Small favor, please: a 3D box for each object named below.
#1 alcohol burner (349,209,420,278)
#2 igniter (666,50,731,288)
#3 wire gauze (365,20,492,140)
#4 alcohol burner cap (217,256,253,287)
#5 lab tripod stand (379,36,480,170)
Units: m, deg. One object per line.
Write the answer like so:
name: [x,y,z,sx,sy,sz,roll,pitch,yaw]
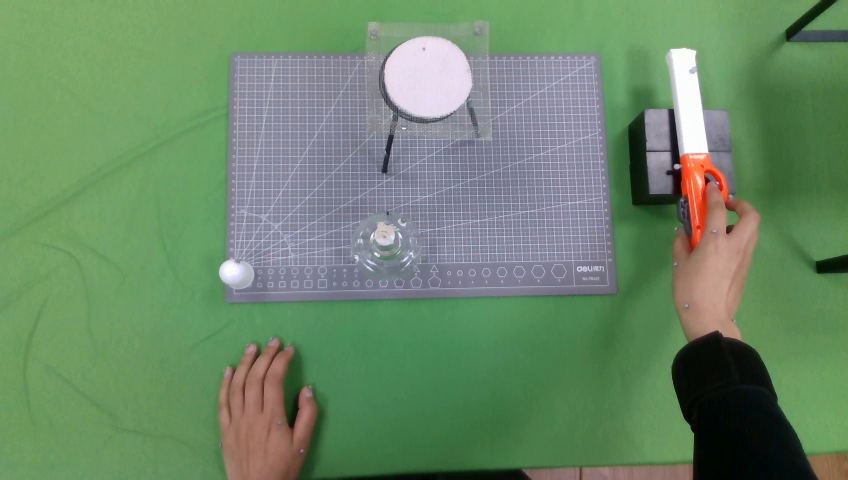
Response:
alcohol burner: [-0.042,0.001,0.645,0.078,0.119,0.077,0,82,-2]
igniter: [0.304,-0.083,0.676,0.057,0.025,0.275,-2,78,-3]
wire gauze: [0.005,-0.159,0.594,0.125,0.011,0.121,2,81,-2]
alcohol burner cap: [-0.210,0.033,0.665,0.034,0.048,0.033,1,78,-4]
lab tripod stand: [-0.005,-0.152,0.661,0.148,0.132,0.148,0,80,-1]
